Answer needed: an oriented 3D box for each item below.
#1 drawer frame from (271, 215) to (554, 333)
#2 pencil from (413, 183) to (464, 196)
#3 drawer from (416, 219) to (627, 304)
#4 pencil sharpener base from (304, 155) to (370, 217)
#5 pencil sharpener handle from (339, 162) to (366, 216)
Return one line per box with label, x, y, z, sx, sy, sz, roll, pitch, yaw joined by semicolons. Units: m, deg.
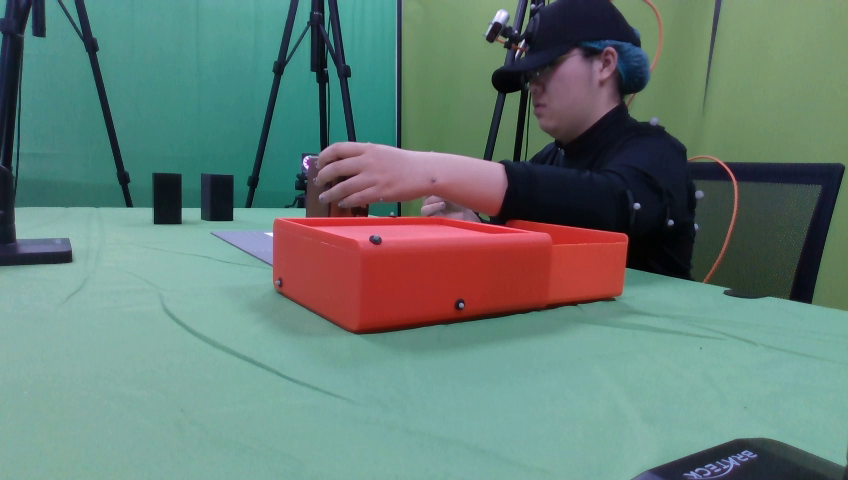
drawer frame;-0.017;0.022;0.605;0.215;0.082;0.200;-3;9;-34
pencil;0.025;-0.094;1.135;0.012;0.012;0.193;-1;10;-28
drawer;0.080;0.020;0.673;0.213;0.073;0.193;-2;9;-35
pencil sharpener base;-0.116;-0.058;0.809;0.062;0.107;0.076;1;6;-37
pencil sharpener handle;-0.085;-0.064;0.768;0.036;0.067;0.030;-3;8;-36
